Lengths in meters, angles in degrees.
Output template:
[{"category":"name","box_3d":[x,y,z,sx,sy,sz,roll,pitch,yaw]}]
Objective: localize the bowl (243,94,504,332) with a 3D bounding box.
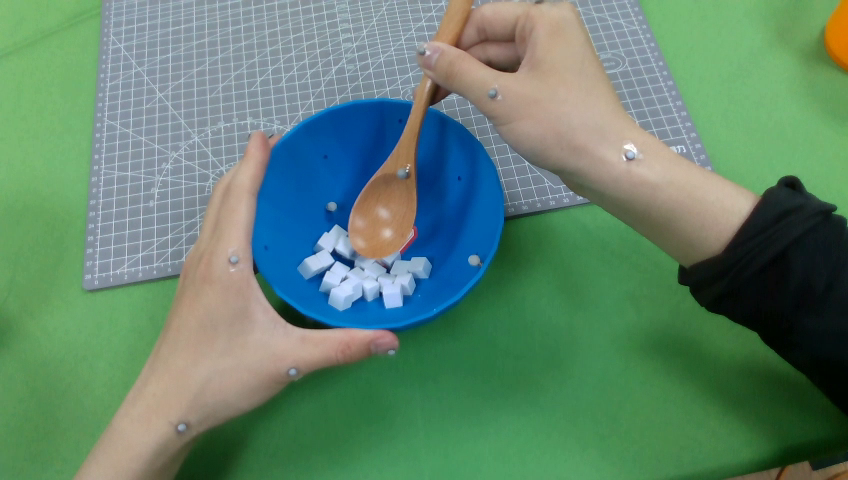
[{"category":"bowl","box_3d":[-0.028,-0.007,0.383,0.151,0.077,0.150,0,68,2]}]

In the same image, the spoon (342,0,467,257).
[{"category":"spoon","box_3d":[-0.003,-0.079,0.345,0.041,0.021,0.194,27,109,17]}]
